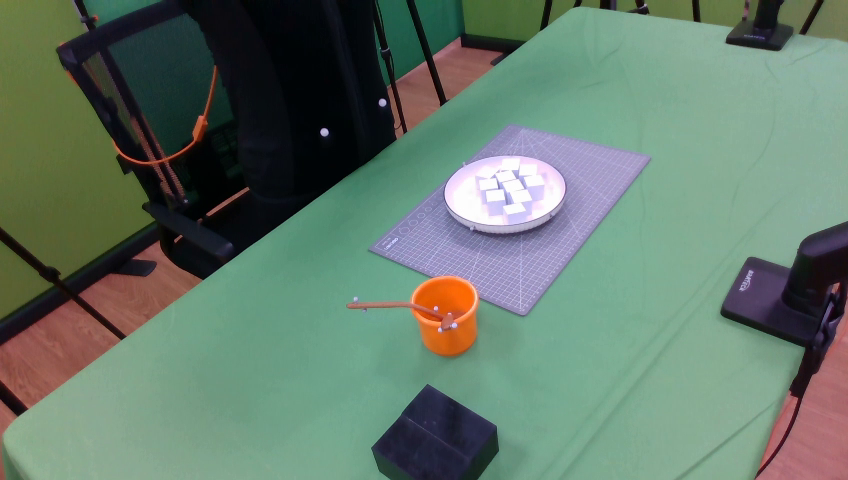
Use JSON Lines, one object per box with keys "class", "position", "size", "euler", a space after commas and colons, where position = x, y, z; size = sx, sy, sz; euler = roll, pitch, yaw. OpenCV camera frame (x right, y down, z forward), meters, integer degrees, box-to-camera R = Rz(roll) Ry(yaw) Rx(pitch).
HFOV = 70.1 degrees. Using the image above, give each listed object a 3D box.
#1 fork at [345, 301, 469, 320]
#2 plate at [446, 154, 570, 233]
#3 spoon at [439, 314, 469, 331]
{"class": "fork", "position": [-0.017, 0.090, 0.776], "size": [0.209, 0.018, 0.028], "euler": [14, -1, -44]}
{"class": "plate", "position": [0.142, -0.076, 1.033], "size": [0.207, 0.039, 0.206], "euler": [-5, 40, 5]}
{"class": "spoon", "position": [0.033, 0.101, 0.760], "size": [0.041, 0.194, 0.021], "euler": [0, 83, 7]}
